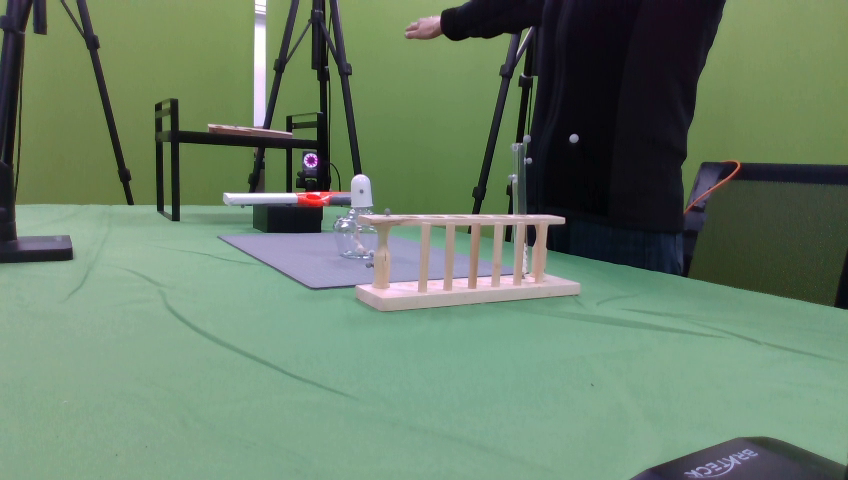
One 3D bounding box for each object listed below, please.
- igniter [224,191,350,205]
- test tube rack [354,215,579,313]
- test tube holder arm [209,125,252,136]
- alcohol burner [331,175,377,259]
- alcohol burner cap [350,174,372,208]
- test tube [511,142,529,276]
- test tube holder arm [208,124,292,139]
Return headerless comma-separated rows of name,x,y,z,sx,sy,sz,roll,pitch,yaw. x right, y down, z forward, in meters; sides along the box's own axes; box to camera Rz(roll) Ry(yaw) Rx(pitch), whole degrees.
igniter,-0.237,-0.079,1.157,0.278,0.025,0.057,-2,21,-31
test tube rack,0.053,0.019,0.635,0.243,0.085,0.066,-1,8,-29
test tube holder arm,-0.419,-0.236,1.308,0.088,0.015,0.010,1,40,-28
alcohol burner,-0.091,-0.033,0.855,0.078,0.119,0.078,4,7,0
alcohol burner cap,-0.090,-0.068,0.850,0.034,0.048,0.034,-3,9,1
test tube,0.108,-0.034,0.678,0.017,0.150,0.017,-3,7,1
test tube holder arm,-0.381,-0.239,1.334,0.179,0.015,0.013,1,41,-29
